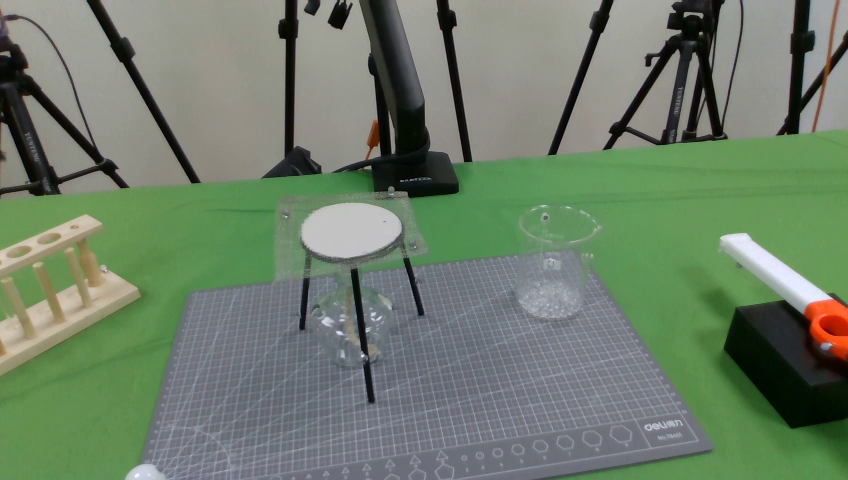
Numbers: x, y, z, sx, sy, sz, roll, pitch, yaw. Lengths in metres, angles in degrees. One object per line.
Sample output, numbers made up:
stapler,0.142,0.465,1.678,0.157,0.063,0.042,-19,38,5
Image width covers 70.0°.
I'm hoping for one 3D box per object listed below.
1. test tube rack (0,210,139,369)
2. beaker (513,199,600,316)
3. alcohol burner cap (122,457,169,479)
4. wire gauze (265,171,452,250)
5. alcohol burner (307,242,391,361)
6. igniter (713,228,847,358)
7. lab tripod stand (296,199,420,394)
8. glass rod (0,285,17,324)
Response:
test tube rack,-0.411,0.066,0.577,0.066,0.086,0.242,22,39,31
beaker,0.130,0.020,0.609,0.084,0.101,0.073,-2,34,-1
alcohol burner cap,-0.199,0.176,0.434,0.034,0.048,0.033,1,33,0
wire gauze,-0.057,-0.025,0.502,0.125,0.011,0.120,-12,30,-29
alcohol burner,-0.069,0.052,0.554,0.078,0.120,0.077,0,33,0
igniter,0.344,0.061,0.523,0.057,0.025,0.273,-7,30,-8
lab tripod stand,-0.060,0.043,0.550,0.148,0.132,0.147,0,34,0
glass rod,-0.408,0.003,0.552,0.008,0.201,0.008,3,35,-1
